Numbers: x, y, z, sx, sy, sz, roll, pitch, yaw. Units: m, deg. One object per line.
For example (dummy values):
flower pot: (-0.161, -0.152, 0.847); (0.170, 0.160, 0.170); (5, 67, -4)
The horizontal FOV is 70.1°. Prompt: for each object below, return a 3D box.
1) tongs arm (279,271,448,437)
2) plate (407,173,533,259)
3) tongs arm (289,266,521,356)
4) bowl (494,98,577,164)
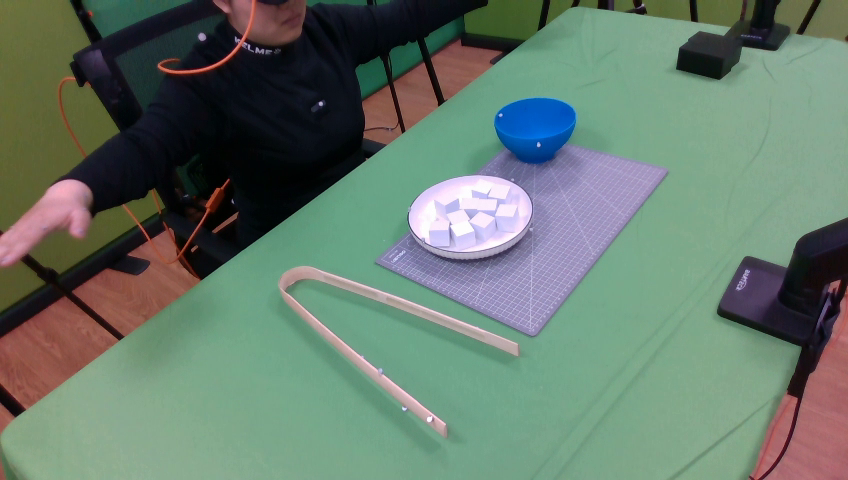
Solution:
tongs arm: (-0.093, 0.140, 0.824); (0.381, 0.026, 0.051); (28, 52, 37)
plate: (0.076, -0.037, 0.997); (0.207, 0.039, 0.206); (-5, 40, 5)
tongs arm: (-0.039, 0.097, 0.871); (0.385, 0.028, 0.028); (16, 49, 28)
bowl: (0.207, -0.196, 1.128); (0.151, 0.077, 0.150); (-5, 40, 5)
